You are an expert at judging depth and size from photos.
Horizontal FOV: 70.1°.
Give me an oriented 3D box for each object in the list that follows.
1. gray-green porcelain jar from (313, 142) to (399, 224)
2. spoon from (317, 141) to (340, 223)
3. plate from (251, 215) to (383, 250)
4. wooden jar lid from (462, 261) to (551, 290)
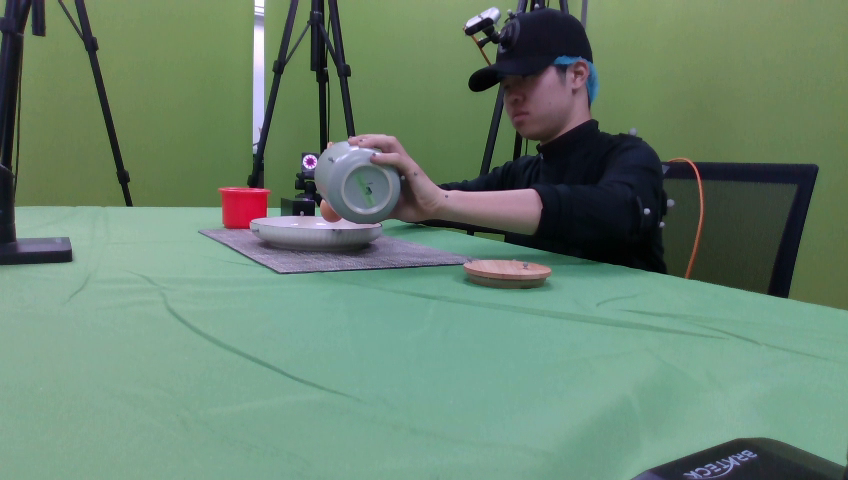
[{"bbox_3d":[-0.096,-0.082,0.858,0.106,0.106,0.126,0,14,-19],"label":"gray-green porcelain jar"},{"bbox_3d":[-0.159,-0.102,1.019,0.042,0.021,0.193,-6,46,-4],"label":"spoon"},{"bbox_3d":[-0.170,-0.012,0.971,0.208,0.039,0.207,2,7,0],"label":"plate"},{"bbox_3d":[0.100,0.043,0.742,0.108,0.020,0.108,2,6,0],"label":"wooden jar lid"}]
